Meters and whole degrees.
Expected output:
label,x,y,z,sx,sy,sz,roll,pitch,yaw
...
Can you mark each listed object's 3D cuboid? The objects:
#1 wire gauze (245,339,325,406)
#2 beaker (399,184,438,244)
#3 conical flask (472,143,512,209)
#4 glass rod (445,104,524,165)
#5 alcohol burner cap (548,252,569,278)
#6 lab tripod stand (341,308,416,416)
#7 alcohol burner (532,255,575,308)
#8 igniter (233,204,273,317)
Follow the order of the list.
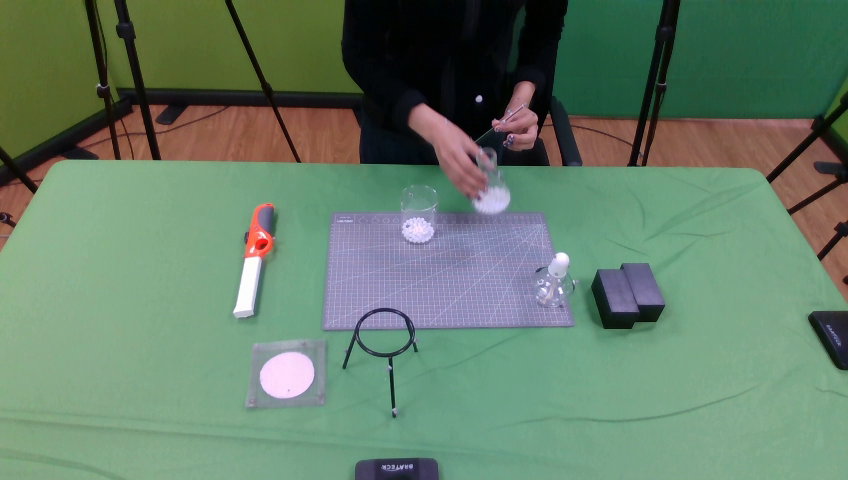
label,x,y,z,sx,sy,sz,roll,pitch,yaw
wire gauze,-0.224,0.214,0.984,0.125,0.011,0.120,-2,46,-5
beaker,-0.014,-0.046,1.186,0.073,0.101,0.084,36,54,27
conical flask,0.119,-0.120,1.107,0.075,0.122,0.075,-7,48,8
glass rod,0.115,-0.206,1.194,0.008,0.200,0.008,39,31,-29
alcohol burner cap,0.238,0.042,1.060,0.034,0.048,0.033,1,53,-1
lab tripod stand,-0.061,0.177,0.946,0.148,0.132,0.147,2,44,-2
alcohol burner,0.235,0.066,1.087,0.078,0.119,0.077,4,45,-3
igniter,-0.321,0.029,1.142,0.057,0.025,0.274,-7,46,4
